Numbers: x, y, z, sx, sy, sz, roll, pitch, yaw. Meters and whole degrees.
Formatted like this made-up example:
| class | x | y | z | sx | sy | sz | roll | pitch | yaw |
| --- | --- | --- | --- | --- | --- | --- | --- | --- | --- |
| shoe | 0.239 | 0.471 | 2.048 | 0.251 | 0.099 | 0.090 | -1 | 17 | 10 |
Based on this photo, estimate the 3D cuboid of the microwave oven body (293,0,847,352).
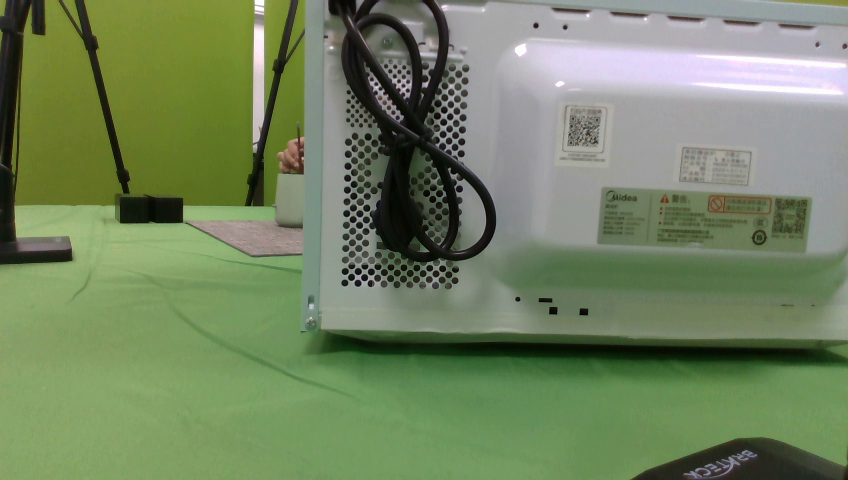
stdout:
| class | x | y | z | sx | sy | sz | roll | pitch | yaw |
| --- | --- | --- | --- | --- | --- | --- | --- | --- | --- |
| microwave oven body | 0.122 | -0.055 | 0.550 | 0.442 | 0.260 | 0.325 | 3 | 7 | -5 |

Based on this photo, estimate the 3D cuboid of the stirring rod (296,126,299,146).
| class | x | y | z | sx | sy | sz | roll | pitch | yaw |
| --- | --- | --- | --- | --- | --- | --- | --- | --- | --- |
| stirring rod | -0.241 | -0.133 | 1.177 | 0.006 | 0.176 | 0.014 | -4 | 8 | -13 |

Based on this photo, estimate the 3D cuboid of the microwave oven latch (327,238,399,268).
| class | x | y | z | sx | sy | sz | roll | pitch | yaw |
| --- | --- | --- | --- | --- | --- | --- | --- | --- | --- |
| microwave oven latch | -0.069 | 0.015 | 0.694 | 0.079 | 0.029 | 0.030 | 3 | 7 | -3 |

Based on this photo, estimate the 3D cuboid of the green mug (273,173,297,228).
| class | x | y | z | sx | sy | sz | roll | pitch | yaw |
| --- | --- | --- | --- | --- | --- | --- | --- | --- | --- |
| green mug | -0.242 | -0.081 | 1.221 | 0.092 | 0.105 | 0.126 | 8 | 9 | 39 |

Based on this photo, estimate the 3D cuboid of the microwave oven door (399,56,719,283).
| class | x | y | z | sx | sy | sz | roll | pitch | yaw |
| --- | --- | --- | --- | --- | --- | --- | --- | --- | --- |
| microwave oven door | 0.155 | -0.078 | 0.697 | 0.356 | 0.243 | 0.039 | 2 | 8 | -5 |
